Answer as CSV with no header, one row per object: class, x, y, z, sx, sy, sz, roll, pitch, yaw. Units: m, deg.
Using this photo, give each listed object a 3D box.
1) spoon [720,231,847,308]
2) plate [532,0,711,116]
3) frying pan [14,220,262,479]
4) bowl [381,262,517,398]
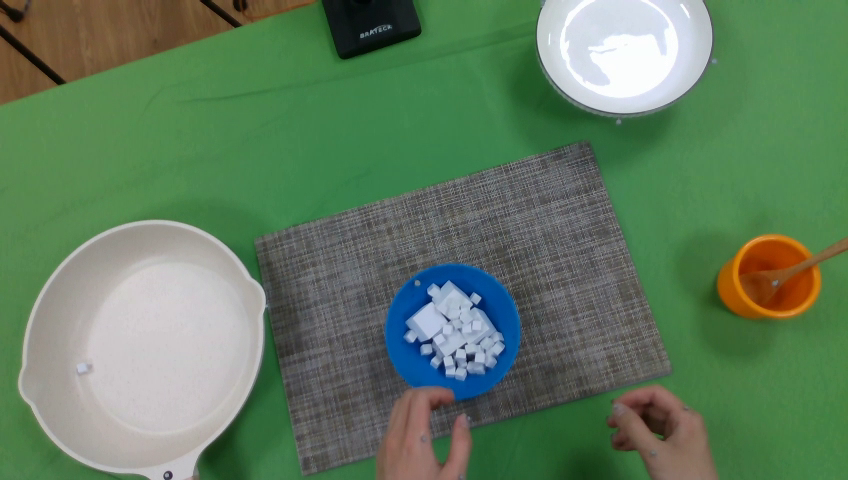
spoon,0.410,0.021,0.652,0.022,0.194,0.041,-15,70,-44
plate,0.234,-0.244,0.734,0.207,0.039,0.206,-1,79,5
frying pan,-0.296,0.213,0.694,0.307,0.103,0.483,-21,68,1
bowl,0.031,0.105,0.698,0.151,0.077,0.150,-1,77,5
